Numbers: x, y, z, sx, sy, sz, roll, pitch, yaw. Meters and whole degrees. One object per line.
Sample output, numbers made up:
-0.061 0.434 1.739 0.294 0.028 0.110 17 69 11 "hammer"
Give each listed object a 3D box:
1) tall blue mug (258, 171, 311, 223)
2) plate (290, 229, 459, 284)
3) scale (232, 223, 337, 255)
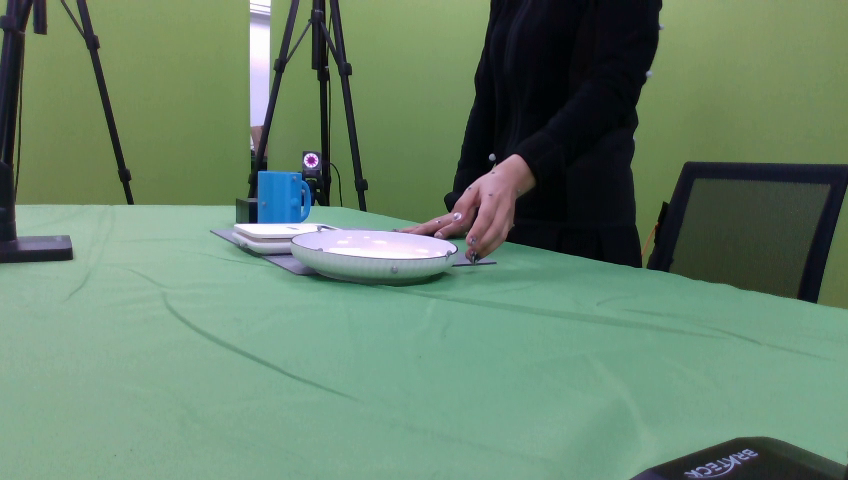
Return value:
-0.258 -0.071 1.107 0.078 0.108 0.107 2 7 5 "tall blue mug"
-0.062 0.020 0.753 0.209 0.038 0.209 3 9 0 "plate"
-0.178 -0.004 0.920 0.202 0.031 0.148 -1 9 -30 "scale"
